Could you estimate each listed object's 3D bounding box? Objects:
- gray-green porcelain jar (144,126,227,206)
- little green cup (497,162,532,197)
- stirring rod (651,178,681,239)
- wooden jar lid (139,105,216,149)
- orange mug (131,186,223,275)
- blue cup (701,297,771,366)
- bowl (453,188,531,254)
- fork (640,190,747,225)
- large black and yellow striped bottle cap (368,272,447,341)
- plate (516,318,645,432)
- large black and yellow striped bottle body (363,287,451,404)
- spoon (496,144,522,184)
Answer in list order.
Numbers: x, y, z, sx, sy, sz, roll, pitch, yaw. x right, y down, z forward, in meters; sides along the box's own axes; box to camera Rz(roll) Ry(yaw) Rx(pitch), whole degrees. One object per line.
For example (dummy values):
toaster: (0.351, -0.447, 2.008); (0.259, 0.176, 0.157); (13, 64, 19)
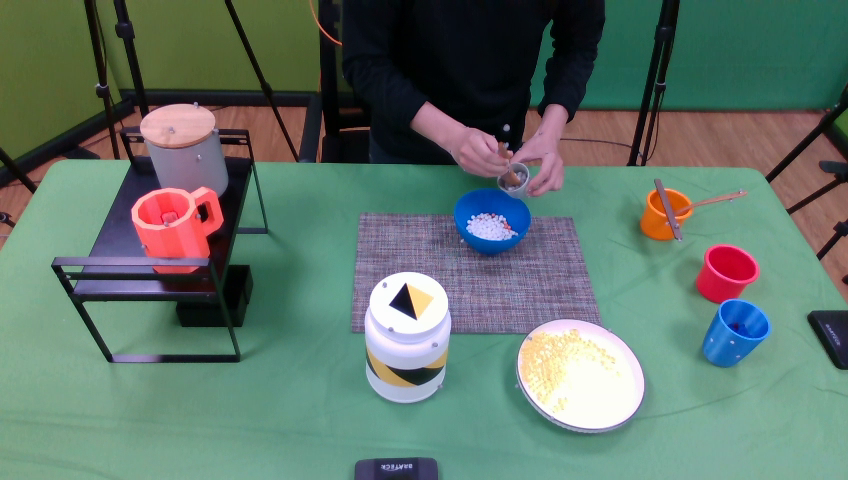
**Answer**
gray-green porcelain jar: (-0.375, -0.126, 0.967); (0.106, 0.127, 0.105); (2, 46, -2)
little green cup: (0.170, -0.110, 1.122); (0.061, 0.039, 0.061); (-12, 62, 24)
stirring rod: (0.479, -0.065, 1.204); (0.014, 0.006, 0.175); (3, 46, -3)
wooden jar lid: (-0.372, -0.169, 0.920); (0.108, 0.021, 0.107); (4, 44, -4)
orange mug: (-0.354, -0.023, 0.888); (0.083, 0.101, 0.126); (31, 56, 24)
blue cup: (0.519, 0.162, 1.025); (0.093, 0.101, 0.092); (3, 45, -3)
bowl: (0.128, -0.025, 1.187); (0.151, 0.077, 0.150); (2, 45, -2)
fork: (0.533, -0.065, 1.211); (0.207, 0.019, 0.028); (-22, 28, 39)
large black and yellow striped bottle cap: (-0.023, 0.093, 0.875); (0.115, 0.019, 0.114); (3, 46, -3)
plate: (0.253, 0.221, 0.993); (0.209, 0.038, 0.208); (2, 46, -2)
large black and yellow striped bottle body: (-0.027, 0.153, 0.935); (0.131, 0.185, 0.130); (2, 46, -2)
spoon: (0.142, -0.131, 1.044); (0.041, 0.194, 0.021); (25, 83, 19)
